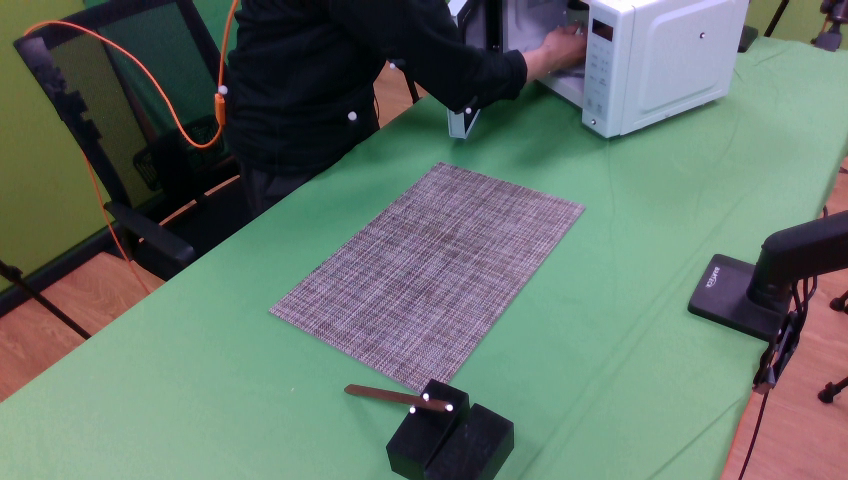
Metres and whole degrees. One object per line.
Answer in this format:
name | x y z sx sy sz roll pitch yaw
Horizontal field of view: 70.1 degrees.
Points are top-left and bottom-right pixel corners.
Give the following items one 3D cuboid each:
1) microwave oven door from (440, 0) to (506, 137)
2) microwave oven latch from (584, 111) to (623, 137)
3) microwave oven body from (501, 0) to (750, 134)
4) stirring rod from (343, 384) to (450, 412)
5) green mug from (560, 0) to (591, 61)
microwave oven door | 0.108 -0.407 1.231 0.039 0.245 0.355 7 43 17
microwave oven latch | 0.337 -0.222 1.142 0.030 0.029 0.078 -21 42 -14
microwave oven body | 0.382 -0.445 1.246 0.327 0.261 0.437 -22 42 -16
stirring rod | -0.037 0.185 0.714 0.175 0.006 0.014 -3 22 43
green mug | 0.330 -0.433 1.270 0.092 0.105 0.125 12 44 22
